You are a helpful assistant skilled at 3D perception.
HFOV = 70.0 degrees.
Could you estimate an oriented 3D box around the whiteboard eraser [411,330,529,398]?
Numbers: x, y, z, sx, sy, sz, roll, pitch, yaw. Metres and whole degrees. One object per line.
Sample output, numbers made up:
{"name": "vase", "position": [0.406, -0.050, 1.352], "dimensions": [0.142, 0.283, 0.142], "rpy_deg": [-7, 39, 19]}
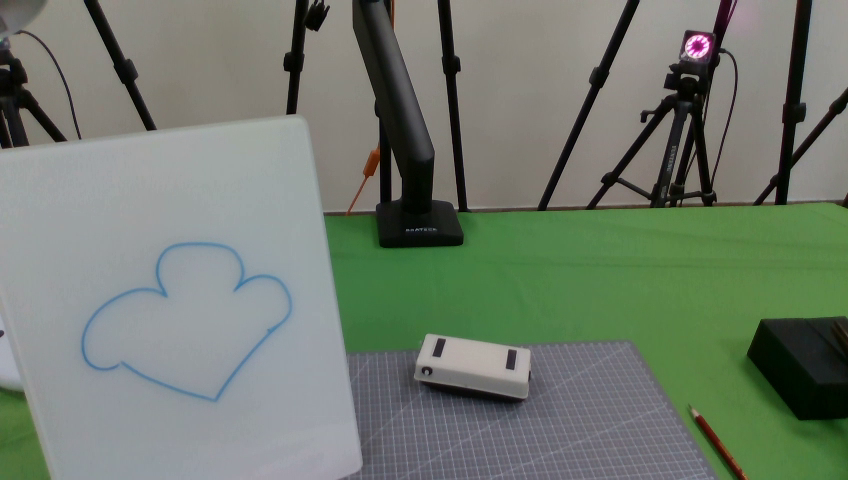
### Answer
{"name": "whiteboard eraser", "position": [0.047, 0.125, 0.607], "dimensions": [0.112, 0.042, 0.055], "rpy_deg": [8, 32, 8]}

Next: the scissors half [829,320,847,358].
{"name": "scissors half", "position": [0.421, 0.133, 0.558], "dimensions": [0.013, 0.040, 0.173], "rpy_deg": [-1, 32, 2]}

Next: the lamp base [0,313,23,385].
{"name": "lamp base", "position": [-0.383, 0.024, 0.602], "dimensions": [0.178, 0.181, 0.160], "rpy_deg": [19, 35, 29]}

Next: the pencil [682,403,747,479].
{"name": "pencil", "position": [0.277, 0.210, 0.527], "dimensions": [0.012, 0.012, 0.192], "rpy_deg": [-3, 29, -10]}

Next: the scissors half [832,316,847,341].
{"name": "scissors half", "position": [0.423, 0.148, 0.573], "dimensions": [0.013, 0.040, 0.173], "rpy_deg": [-5, 54, 6]}

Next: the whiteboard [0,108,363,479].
{"name": "whiteboard", "position": [-0.195, 0.060, 0.497], "dimensions": [0.218, 0.306, 0.142], "rpy_deg": [-13, 15, -24]}

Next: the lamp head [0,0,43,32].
{"name": "lamp head", "position": [-0.343, -0.219, 0.421], "dimensions": [0.112, 0.113, 0.122], "rpy_deg": [-25, 66, -39]}
